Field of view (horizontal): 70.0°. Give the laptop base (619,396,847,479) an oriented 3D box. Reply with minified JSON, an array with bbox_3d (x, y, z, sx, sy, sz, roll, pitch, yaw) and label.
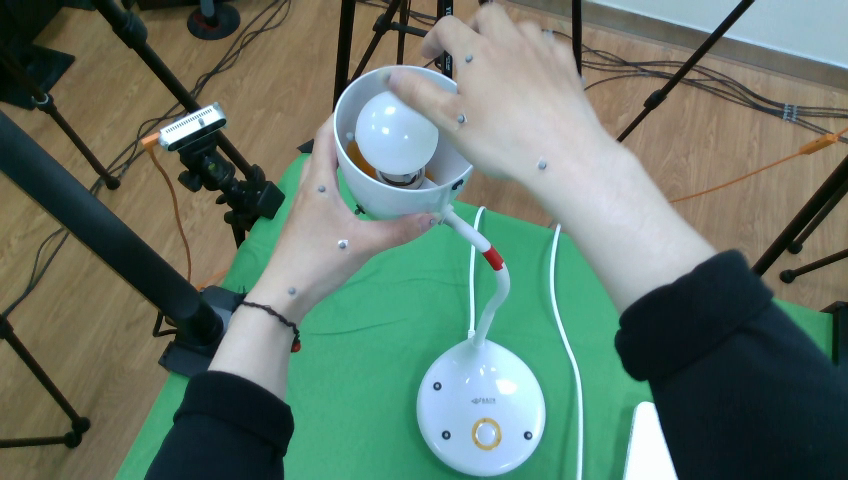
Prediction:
[{"bbox_3d":[0.395,0.343,0.697,0.354,0.023,0.234,17,66,6],"label":"laptop base"}]

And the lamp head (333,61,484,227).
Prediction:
[{"bbox_3d":[-0.014,-0.060,0.487,0.112,0.124,0.111,2,62,-3],"label":"lamp head"}]

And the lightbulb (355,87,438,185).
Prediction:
[{"bbox_3d":[-0.019,-0.071,0.460,0.059,0.108,0.059,0,69,0],"label":"lightbulb"}]

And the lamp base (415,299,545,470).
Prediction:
[{"bbox_3d":[0.068,0.154,0.689,0.161,0.181,0.177,-10,60,-7],"label":"lamp base"}]

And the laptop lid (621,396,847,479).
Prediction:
[{"bbox_3d":[0.394,0.339,0.685,0.356,0.013,0.240,18,65,7],"label":"laptop lid"}]
